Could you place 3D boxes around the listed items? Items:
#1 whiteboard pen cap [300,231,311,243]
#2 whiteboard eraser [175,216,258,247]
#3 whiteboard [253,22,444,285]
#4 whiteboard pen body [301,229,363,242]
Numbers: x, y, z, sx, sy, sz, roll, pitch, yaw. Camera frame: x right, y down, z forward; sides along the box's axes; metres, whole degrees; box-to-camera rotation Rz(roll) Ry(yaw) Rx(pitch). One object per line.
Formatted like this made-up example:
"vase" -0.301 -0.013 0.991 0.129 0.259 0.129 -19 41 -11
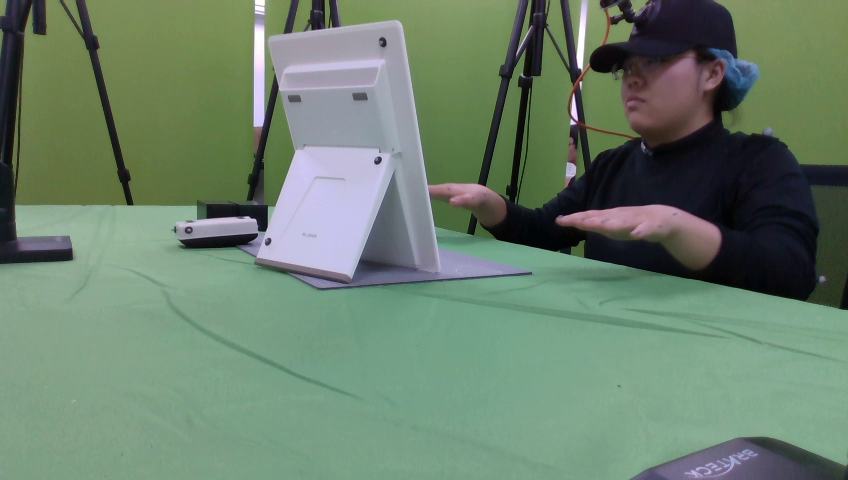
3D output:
"whiteboard pen cap" -0.189 -0.004 0.965 0.018 0.018 0.033 2 9 -9
"whiteboard eraser" -0.313 -0.013 0.915 0.113 0.042 0.055 -5 12 -30
"whiteboard" -0.125 -0.081 0.715 0.216 0.305 0.144 9 29 36
"whiteboard pen body" -0.153 -0.007 1.017 0.017 0.017 0.141 8 9 36
